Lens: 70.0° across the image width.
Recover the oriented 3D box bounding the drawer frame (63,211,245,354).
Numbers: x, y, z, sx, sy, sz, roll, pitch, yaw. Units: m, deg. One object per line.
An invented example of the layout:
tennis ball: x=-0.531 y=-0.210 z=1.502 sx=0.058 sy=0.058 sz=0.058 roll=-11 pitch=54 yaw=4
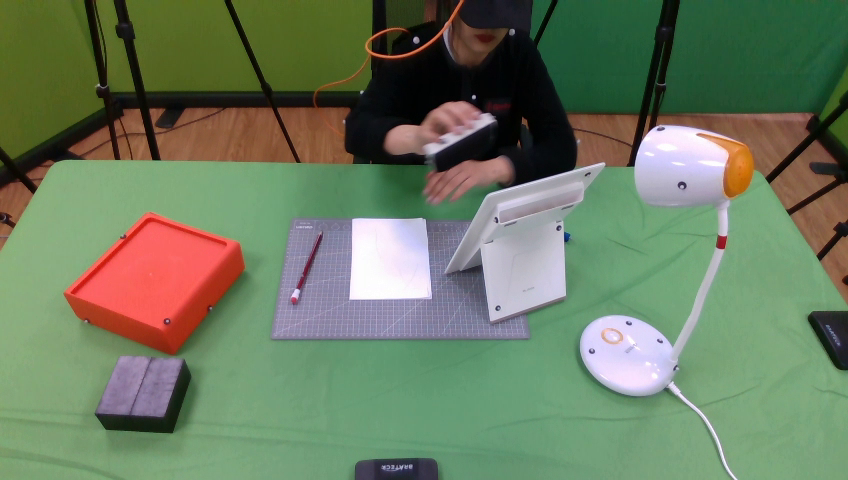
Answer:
drawer frame: x=-0.459 y=0.067 z=1.056 sx=0.201 sy=0.083 sz=0.212 roll=17 pitch=48 yaw=11

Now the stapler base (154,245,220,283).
stapler base: x=-0.434 y=0.038 z=1.107 sx=0.130 sy=0.024 sz=0.041 roll=21 pitch=45 yaw=17

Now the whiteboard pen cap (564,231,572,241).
whiteboard pen cap: x=0.282 y=-0.012 z=1.230 sx=0.033 sy=0.018 sz=0.018 roll=24 pitch=49 yaw=15

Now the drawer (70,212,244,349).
drawer: x=-0.458 y=0.065 z=1.060 sx=0.194 sy=0.073 sz=0.211 roll=18 pitch=48 yaw=12

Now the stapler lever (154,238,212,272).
stapler lever: x=-0.434 y=0.022 z=1.091 sx=0.118 sy=0.040 sz=0.027 roll=23 pitch=46 yaw=15

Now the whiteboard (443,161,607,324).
whiteboard: x=0.185 y=0.026 z=1.028 sx=0.217 sy=0.306 sz=0.143 roll=-15 pitch=68 yaw=-18

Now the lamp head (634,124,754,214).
lamp head: x=0.351 y=-0.089 z=0.775 sx=0.112 sy=0.113 sz=0.122 roll=-30 pitch=30 yaw=-28

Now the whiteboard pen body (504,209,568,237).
whiteboard pen body: x=0.230 y=-0.034 z=1.248 sx=0.140 sy=0.017 sz=0.017 roll=23 pitch=49 yaw=16

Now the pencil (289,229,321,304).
pencil: x=-0.220 y=0.045 z=1.141 sx=0.012 sy=0.012 sz=0.193 roll=8 pitch=45 yaw=4

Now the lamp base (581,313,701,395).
lamp base: x=0.361 y=0.144 z=0.973 sx=0.178 sy=0.181 sz=0.160 roll=34 pitch=53 yaw=23

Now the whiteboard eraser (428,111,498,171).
whiteboard eraser: x=0.063 y=-0.149 z=0.929 sx=0.113 sy=0.056 sz=0.041 roll=-30 pitch=67 yaw=-6
